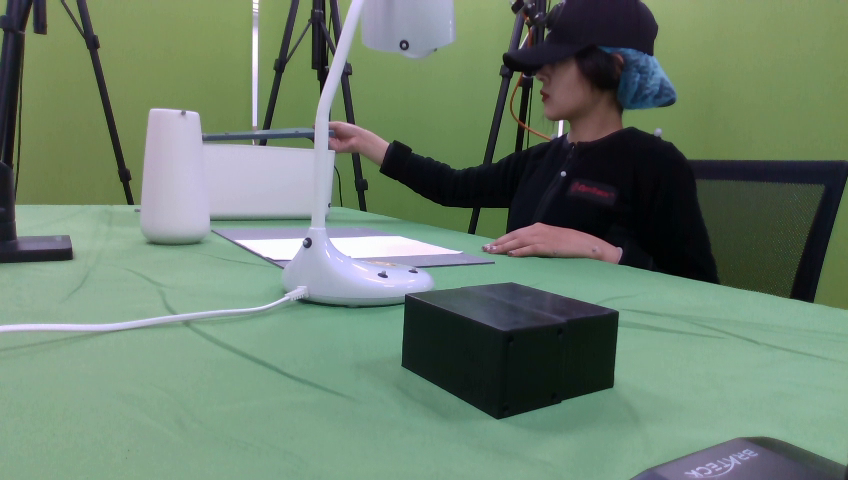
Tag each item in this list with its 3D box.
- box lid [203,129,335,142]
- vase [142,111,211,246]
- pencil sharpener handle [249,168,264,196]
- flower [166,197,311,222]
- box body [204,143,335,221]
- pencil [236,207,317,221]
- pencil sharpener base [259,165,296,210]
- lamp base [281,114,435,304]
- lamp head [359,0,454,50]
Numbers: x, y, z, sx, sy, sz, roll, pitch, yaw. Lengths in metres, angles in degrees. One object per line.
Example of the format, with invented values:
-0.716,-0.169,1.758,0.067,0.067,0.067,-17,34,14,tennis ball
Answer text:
-0.408,-0.232,1.360,0.373,0.015,0.262,-9,14,-28,box lid
-0.378,-0.093,0.920,0.098,0.200,0.098,2,9,0,vase
-0.401,-0.139,1.441,0.031,0.067,0.036,0,0,-32,pencil sharpener handle
-0.397,-0.057,1.355,0.044,0.038,0.364,-36,-25,32,flower
-0.413,-0.134,1.379,0.366,0.160,0.253,-2,9,-31,box body
-0.347,-0.060,1.430,0.194,0.012,0.012,9,7,-1,pencil
-0.358,-0.127,1.469,0.077,0.107,0.061,0,3,-32,pencil sharpener base
-0.071,-0.034,0.614,0.160,0.180,0.180,6,10,27,lamp base
-0.024,-0.283,0.674,0.112,0.123,0.112,-3,38,3,lamp head
